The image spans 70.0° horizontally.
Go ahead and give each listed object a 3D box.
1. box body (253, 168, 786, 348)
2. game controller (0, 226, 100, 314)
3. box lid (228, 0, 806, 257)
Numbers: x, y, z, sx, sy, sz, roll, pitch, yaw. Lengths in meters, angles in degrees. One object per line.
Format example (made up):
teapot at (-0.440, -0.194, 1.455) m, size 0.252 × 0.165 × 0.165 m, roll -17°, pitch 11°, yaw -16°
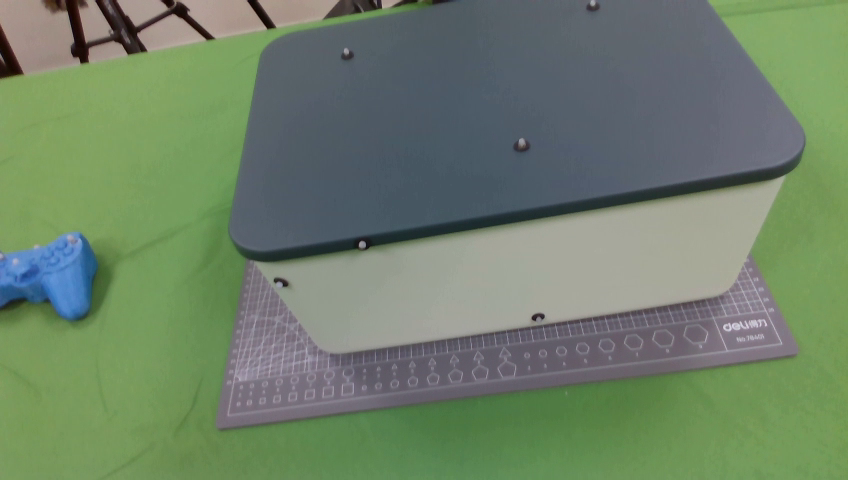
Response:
box body at (0.058, -0.068, 0.506) m, size 0.364 × 0.162 × 0.251 m, roll -9°, pitch 49°, yaw 4°
game controller at (-0.400, 0.033, 0.599) m, size 0.155 × 0.052 × 0.096 m, roll -9°, pitch 46°, yaw 4°
box lid at (0.043, -0.114, 0.450) m, size 0.371 × 0.015 × 0.260 m, roll -9°, pitch 50°, yaw 4°
